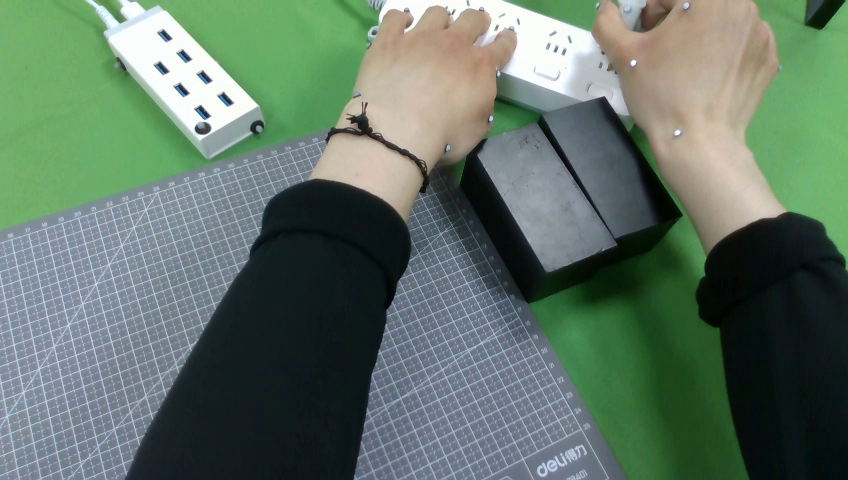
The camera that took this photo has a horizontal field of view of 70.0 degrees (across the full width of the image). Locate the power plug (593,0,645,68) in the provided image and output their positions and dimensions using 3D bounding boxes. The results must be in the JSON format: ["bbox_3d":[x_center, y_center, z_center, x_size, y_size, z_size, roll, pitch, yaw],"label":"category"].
[{"bbox_3d":[0.149,-0.163,0.446,0.035,0.053,0.072,27,60,12],"label":"power plug"}]

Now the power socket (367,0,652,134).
[{"bbox_3d":[0.068,-0.148,0.470,0.226,0.033,0.072,22,63,6],"label":"power socket"}]

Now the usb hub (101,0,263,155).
[{"bbox_3d":[-0.174,-0.118,0.434,0.049,0.025,0.124,-39,73,-21],"label":"usb hub"}]
